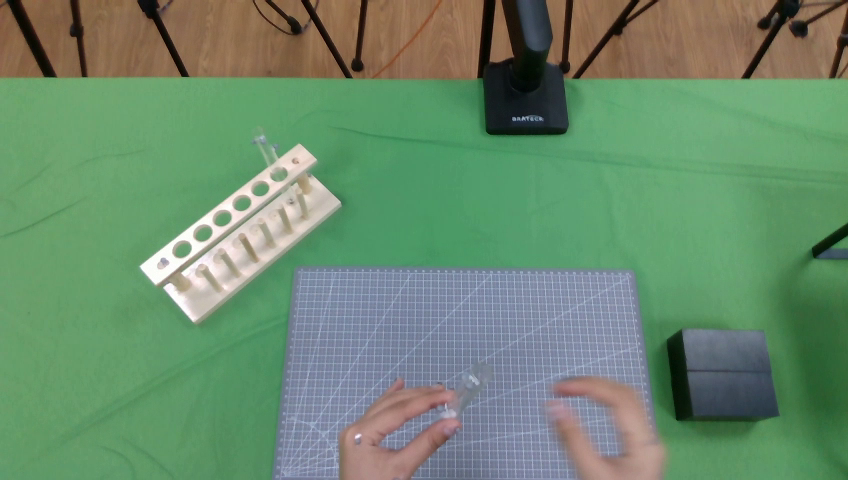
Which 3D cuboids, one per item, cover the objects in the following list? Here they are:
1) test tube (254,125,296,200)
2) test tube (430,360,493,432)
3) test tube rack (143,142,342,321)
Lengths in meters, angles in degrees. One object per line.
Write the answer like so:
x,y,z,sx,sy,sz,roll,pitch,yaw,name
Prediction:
-0.182,-0.092,0.754,0.017,0.151,0.017,-1,64,2,test tube
0.027,0.131,0.493,0.017,0.151,0.017,7,57,-10,test tube
-0.221,-0.011,0.773,0.242,0.086,0.066,-42,73,-17,test tube rack
